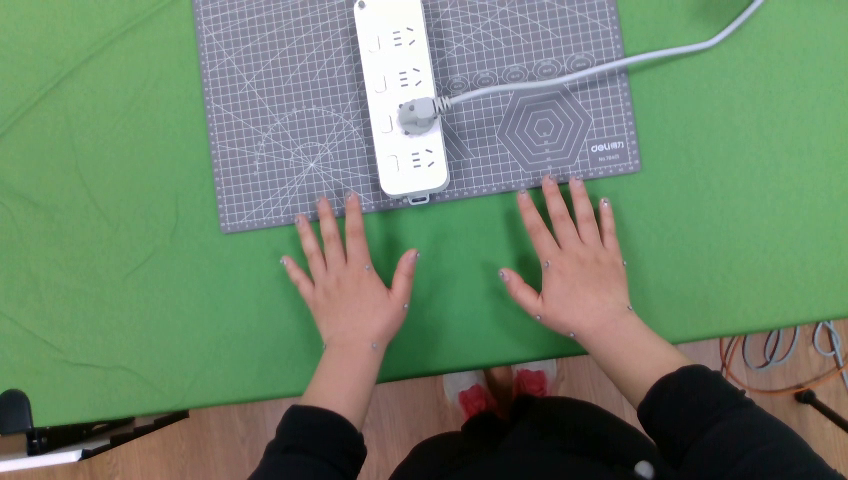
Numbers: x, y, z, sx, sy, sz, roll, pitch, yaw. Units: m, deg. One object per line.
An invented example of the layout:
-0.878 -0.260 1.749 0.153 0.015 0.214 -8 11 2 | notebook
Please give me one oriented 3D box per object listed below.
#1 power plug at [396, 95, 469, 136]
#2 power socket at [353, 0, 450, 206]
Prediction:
0.008 -0.122 0.607 0.072 0.053 0.035 2 88 4 | power plug
-0.024 -0.149 0.629 0.072 0.032 0.226 -9 87 5 | power socket
